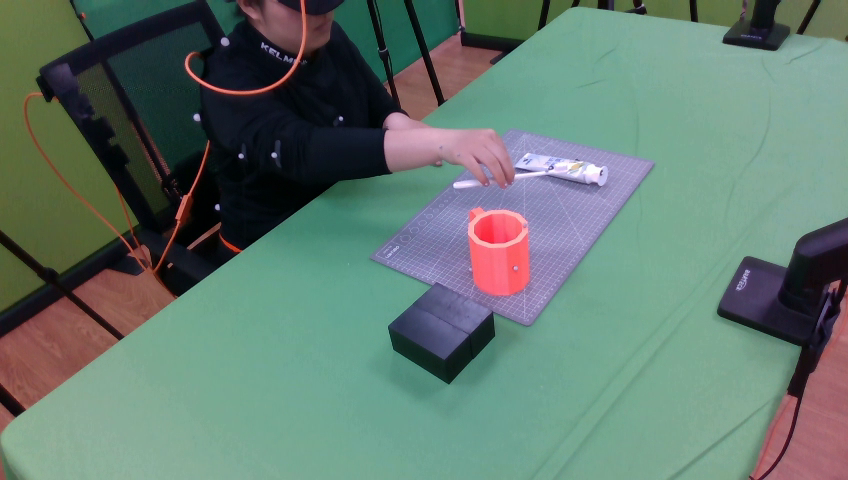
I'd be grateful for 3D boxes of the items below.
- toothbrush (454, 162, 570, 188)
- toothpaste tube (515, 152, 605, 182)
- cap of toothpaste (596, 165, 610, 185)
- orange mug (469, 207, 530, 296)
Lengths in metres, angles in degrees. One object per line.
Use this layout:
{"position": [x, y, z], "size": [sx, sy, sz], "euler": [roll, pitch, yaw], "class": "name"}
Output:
{"position": [0.137, -0.100, 0.944], "size": [0.182, 0.017, 0.014], "euler": [-8, 47, 5], "class": "toothbrush"}
{"position": [0.248, -0.133, 1.087], "size": [0.164, 0.034, 0.055], "euler": [18, 42, 34], "class": "toothpaste tube"}
{"position": [0.307, -0.113, 1.041], "size": [0.011, 0.037, 0.037], "euler": [20, 49, 39], "class": "cap of toothpaste"}
{"position": [0.104, 0.008, 0.894], "size": [0.084, 0.101, 0.125], "euler": [-22, 46, -14], "class": "orange mug"}
